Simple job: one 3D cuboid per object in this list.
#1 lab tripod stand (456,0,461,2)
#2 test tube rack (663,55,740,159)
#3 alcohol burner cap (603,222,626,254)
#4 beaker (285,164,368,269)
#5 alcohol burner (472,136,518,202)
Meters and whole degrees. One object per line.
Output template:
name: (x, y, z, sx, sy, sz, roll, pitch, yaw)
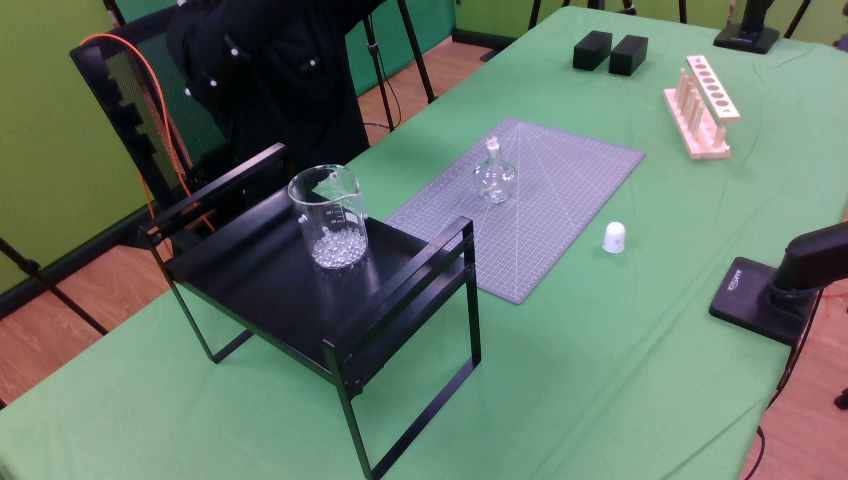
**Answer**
lab tripod stand: (0.083, -0.417, 0.826, 0.148, 0.132, 0.147, -15, 33, 10)
test tube rack: (0.518, -0.256, 1.144, 0.066, 0.085, 0.241, -1, 41, 8)
alcohol burner cap: (0.291, -0.006, 0.921, 0.034, 0.048, 0.033, -4, 40, 4)
beaker: (-0.101, -0.024, 0.676, 0.083, 0.101, 0.074, 8, 43, 17)
alcohol burner: (0.121, -0.125, 1.023, 0.078, 0.119, 0.077, -2, 42, 3)
